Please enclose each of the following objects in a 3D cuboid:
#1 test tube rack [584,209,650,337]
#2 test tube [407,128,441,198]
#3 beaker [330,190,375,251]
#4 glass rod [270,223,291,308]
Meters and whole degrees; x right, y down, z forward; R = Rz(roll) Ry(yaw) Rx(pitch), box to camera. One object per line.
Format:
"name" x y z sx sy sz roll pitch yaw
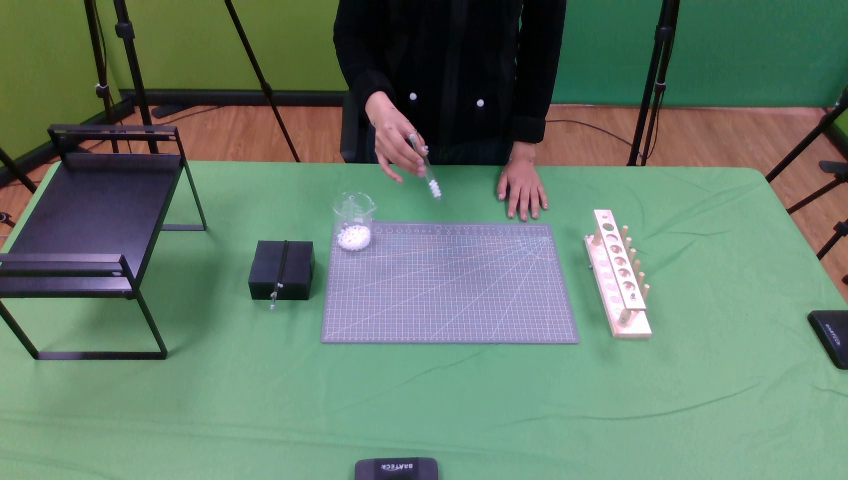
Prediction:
"test tube rack" 0.365 0.056 1.129 0.067 0.085 0.240 1 46 -4
"test tube" 0.002 -0.131 1.056 0.017 0.151 0.017 -13 43 12
"beaker" -0.136 -0.034 1.162 0.084 0.101 0.073 3 46 -3
"glass rod" -0.255 0.041 1.082 0.008 0.008 0.198 2 46 -2
